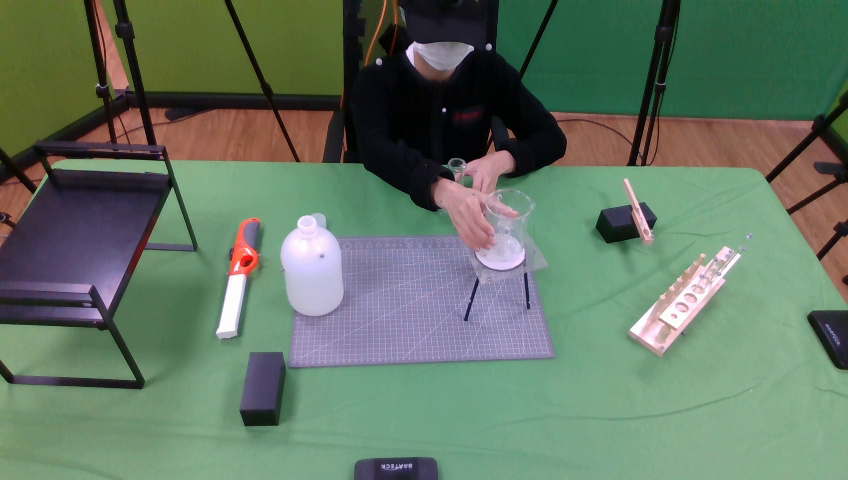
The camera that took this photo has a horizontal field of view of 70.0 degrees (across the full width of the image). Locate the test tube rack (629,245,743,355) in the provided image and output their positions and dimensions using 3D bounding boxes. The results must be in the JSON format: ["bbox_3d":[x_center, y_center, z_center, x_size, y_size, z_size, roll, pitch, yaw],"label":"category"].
[{"bbox_3d":[0.474,0.095,1.091,0.242,0.085,0.066,-34,56,-31],"label":"test tube rack"}]

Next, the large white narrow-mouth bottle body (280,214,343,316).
[{"bbox_3d":[-0.190,0.035,1.025,0.102,0.195,0.101,2,46,-2],"label":"large white narrow-mouth bottle body"}]

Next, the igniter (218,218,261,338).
[{"bbox_3d":[-0.336,0.060,1.111,0.057,0.025,0.274,-8,46,4],"label":"igniter"}]

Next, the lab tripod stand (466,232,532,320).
[{"bbox_3d":[0.125,0.059,1.065,0.148,0.132,0.147,1,45,0],"label":"lab tripod stand"}]

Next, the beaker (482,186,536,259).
[{"bbox_3d":[0.134,-0.026,0.979,0.084,0.101,0.073,-7,44,-8],"label":"beaker"}]

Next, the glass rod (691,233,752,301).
[{"bbox_3d":[0.507,0.053,1.041,0.008,0.200,0.008,5,50,-6],"label":"glass rod"}]

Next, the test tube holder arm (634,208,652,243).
[{"bbox_3d":[0.428,-0.030,1.189,0.010,0.015,0.087,2,47,-2],"label":"test tube holder arm"}]

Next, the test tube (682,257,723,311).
[{"bbox_3d":[0.475,0.080,1.037,0.017,0.151,0.017,1,51,-1],"label":"test tube"}]

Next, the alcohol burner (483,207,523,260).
[{"bbox_3d":[0.152,-0.018,1.156,0.078,0.120,0.077,1,47,0],"label":"alcohol burner"}]

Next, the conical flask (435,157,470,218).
[{"bbox_3d":[0.063,-0.110,1.237,0.075,0.122,0.075,2,46,-2],"label":"conical flask"}]

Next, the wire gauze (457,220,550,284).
[{"bbox_3d":[0.131,0.015,1.016,0.121,0.011,0.124,-11,46,-14],"label":"wire gauze"}]

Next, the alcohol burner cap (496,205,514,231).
[{"bbox_3d":[0.153,-0.044,1.131,0.034,0.048,0.033,2,40,-1],"label":"alcohol burner cap"}]

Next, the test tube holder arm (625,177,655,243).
[{"bbox_3d":[0.433,-0.062,1.220,0.013,0.015,0.177,1,47,-3],"label":"test tube holder arm"}]

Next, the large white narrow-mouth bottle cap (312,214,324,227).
[{"bbox_3d":[-0.219,-0.033,1.214,0.038,0.024,0.037,2,46,-2],"label":"large white narrow-mouth bottle cap"}]
